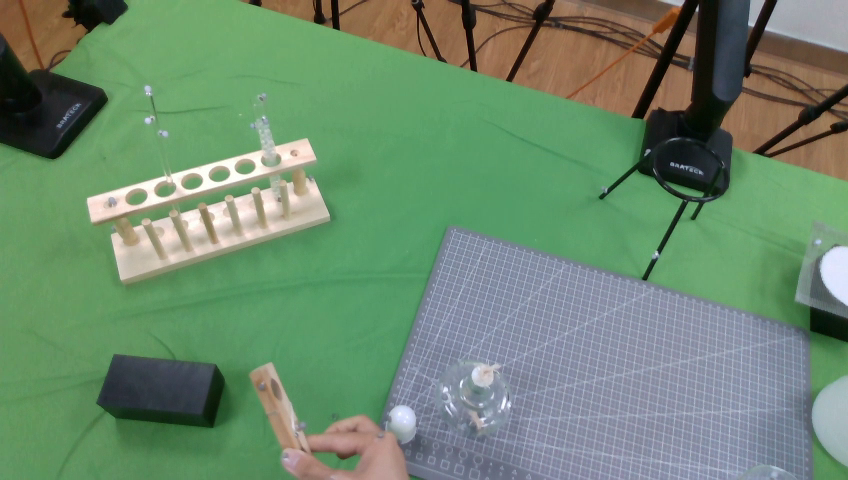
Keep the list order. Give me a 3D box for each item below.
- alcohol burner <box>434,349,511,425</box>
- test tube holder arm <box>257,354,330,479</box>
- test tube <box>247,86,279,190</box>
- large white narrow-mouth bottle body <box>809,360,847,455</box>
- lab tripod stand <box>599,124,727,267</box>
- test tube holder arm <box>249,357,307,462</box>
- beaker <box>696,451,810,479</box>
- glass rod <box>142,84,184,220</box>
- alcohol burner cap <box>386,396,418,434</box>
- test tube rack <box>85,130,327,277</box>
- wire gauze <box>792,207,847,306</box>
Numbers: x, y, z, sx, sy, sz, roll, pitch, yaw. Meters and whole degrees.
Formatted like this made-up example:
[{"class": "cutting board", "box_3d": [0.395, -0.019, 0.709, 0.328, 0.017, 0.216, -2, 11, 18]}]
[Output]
[{"class": "alcohol burner", "box_3d": [0.051, 0.140, 0.598, 0.078, 0.120, 0.077, 3, 59, -5]}, {"class": "test tube holder arm", "box_3d": [-0.094, 0.176, 0.491, 0.178, 0.015, 0.013, 66, 28, -4]}, {"class": "test tube", "box_3d": [-0.178, -0.109, 0.682, 0.017, 0.151, 0.017, 2, 53, -2]}, {"class": "large white narrow-mouth bottle body", "box_3d": [0.475, 0.145, 0.588, 0.102, 0.196, 0.101, 2, 59, -3]}, {"class": "lab tripod stand", "box_3d": [0.289, -0.059, 0.725, 0.148, 0.132, 0.147, 3, 61, -5]}, {"class": "test tube holder arm", "box_3d": [-0.114, 0.136, 0.483, 0.088, 0.015, 0.010, 66, 28, -4]}, {"class": "beaker", "box_3d": [0.298, 0.245, 0.566, 0.084, 0.101, 0.073, 14, 59, 4]}, {"class": "glass rod", "box_3d": [-0.274, -0.082, 0.640, 0.008, 0.201, 0.008, 5, 51, -6]}, {"class": "alcohol burner cap", "box_3d": [-0.022, 0.175, 0.612, 0.034, 0.048, 0.033, 1, 60, -2]}, {"class": "test tube rack", "box_3d": [-0.240, -0.043, 0.697, 0.243, 0.086, 0.066, -19, 63, -15]}, {"class": "wire gauze", "box_3d": [0.501, 0.028, 0.709, 0.121, 0.011, 0.124, 23, 60, 9]}]
